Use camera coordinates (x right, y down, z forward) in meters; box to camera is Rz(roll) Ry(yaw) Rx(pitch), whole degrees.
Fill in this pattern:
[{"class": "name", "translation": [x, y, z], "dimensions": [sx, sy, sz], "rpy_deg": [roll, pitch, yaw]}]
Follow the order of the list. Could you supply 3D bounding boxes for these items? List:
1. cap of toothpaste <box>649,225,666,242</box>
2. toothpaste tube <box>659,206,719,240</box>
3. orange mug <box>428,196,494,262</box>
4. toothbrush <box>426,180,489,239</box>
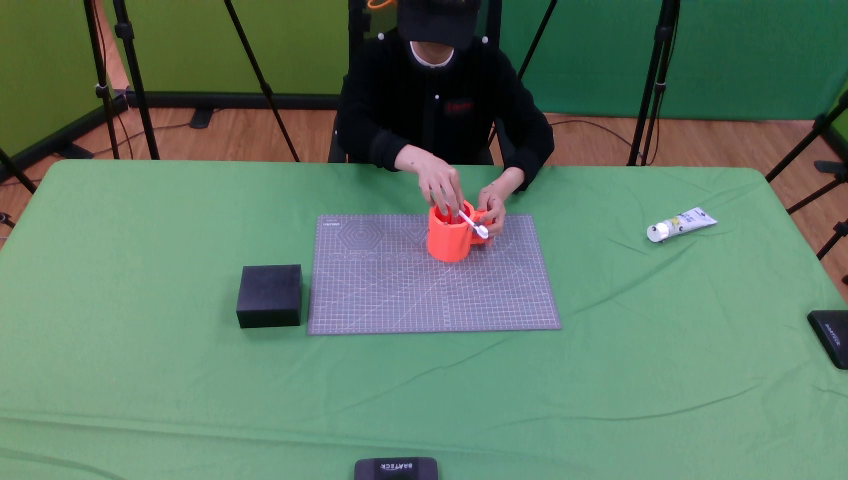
[{"class": "cap of toothpaste", "translation": [0.473, -0.015, 1.226], "dimensions": [0.011, 0.037, 0.037], "rpy_deg": [-19, 50, -26]}, {"class": "toothpaste tube", "translation": [0.542, -0.035, 1.259], "dimensions": [0.165, 0.034, 0.054], "rpy_deg": [-19, 55, -26]}, {"class": "orange mug", "translation": [0.070, -0.023, 1.164], "dimensions": [0.126, 0.101, 0.083], "rpy_deg": [-7, 46, -5]}, {"class": "toothbrush", "translation": [0.060, -0.061, 1.128], "dimensions": [0.014, 0.017, 0.181], "rpy_deg": [-30, 54, -23]}]
